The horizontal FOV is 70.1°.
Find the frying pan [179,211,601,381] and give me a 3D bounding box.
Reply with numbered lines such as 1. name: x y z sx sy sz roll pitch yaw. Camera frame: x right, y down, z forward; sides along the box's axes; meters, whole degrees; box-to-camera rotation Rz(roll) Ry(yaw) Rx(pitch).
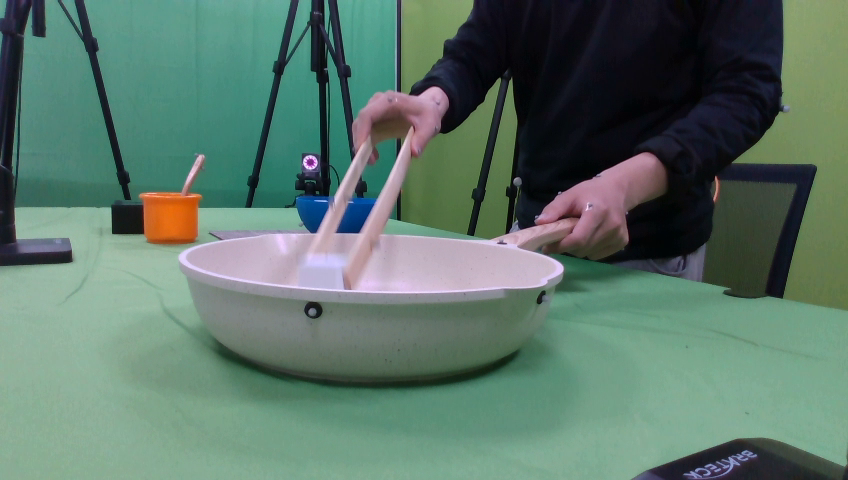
1. frying pan: 0.035 0.019 0.556 0.490 0.102 0.305 -16 19 -43

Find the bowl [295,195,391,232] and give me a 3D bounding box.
1. bowl: -0.127 -0.028 0.947 0.151 0.077 0.151 2 7 0

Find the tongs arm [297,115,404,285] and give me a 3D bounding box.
1. tongs arm: -0.061 -0.062 0.626 0.051 0.026 0.384 -5 27 6

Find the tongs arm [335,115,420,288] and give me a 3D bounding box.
1. tongs arm: -0.039 -0.063 0.622 0.028 0.028 0.387 -6 27 12

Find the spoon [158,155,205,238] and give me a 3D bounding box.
1. spoon: -0.392 -0.076 0.998 0.041 0.193 0.021 2 -36 5
